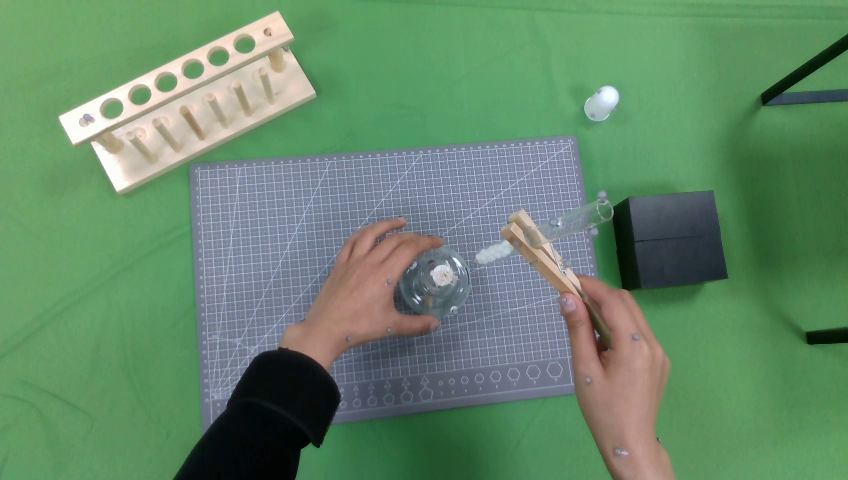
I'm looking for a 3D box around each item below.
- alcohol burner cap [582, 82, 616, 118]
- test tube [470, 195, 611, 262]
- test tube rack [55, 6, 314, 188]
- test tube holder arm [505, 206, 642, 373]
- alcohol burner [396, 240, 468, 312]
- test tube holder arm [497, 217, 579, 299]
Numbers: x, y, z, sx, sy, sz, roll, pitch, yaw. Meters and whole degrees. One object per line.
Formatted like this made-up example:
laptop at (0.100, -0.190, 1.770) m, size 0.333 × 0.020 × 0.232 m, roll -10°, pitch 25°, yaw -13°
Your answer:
alcohol burner cap at (0.210, -0.168, 0.720) m, size 0.034 × 0.048 × 0.033 m, roll 1°, pitch 80°, yaw -3°
test tube at (0.081, -0.005, 0.459) m, size 0.017 × 0.150 × 0.017 m, roll 9°, pitch 71°, yaw -29°
test tube rack at (-0.245, -0.151, 0.649) m, size 0.242 × 0.085 × 0.066 m, roll -30°, pitch 84°, yaw -10°
test tube holder arm at (0.123, 0.043, 0.486) m, size 0.179 × 0.015 × 0.013 m, roll 49°, pitch 63°, yaw -16°
alcohol burner at (0.010, 0.036, 0.628) m, size 0.078 × 0.119 × 0.077 m, roll 1°, pitch 81°, yaw -5°
test tube holder arm at (0.090, 0.016, 0.471) m, size 0.088 × 0.015 × 0.010 m, roll 43°, pitch 64°, yaw -18°
